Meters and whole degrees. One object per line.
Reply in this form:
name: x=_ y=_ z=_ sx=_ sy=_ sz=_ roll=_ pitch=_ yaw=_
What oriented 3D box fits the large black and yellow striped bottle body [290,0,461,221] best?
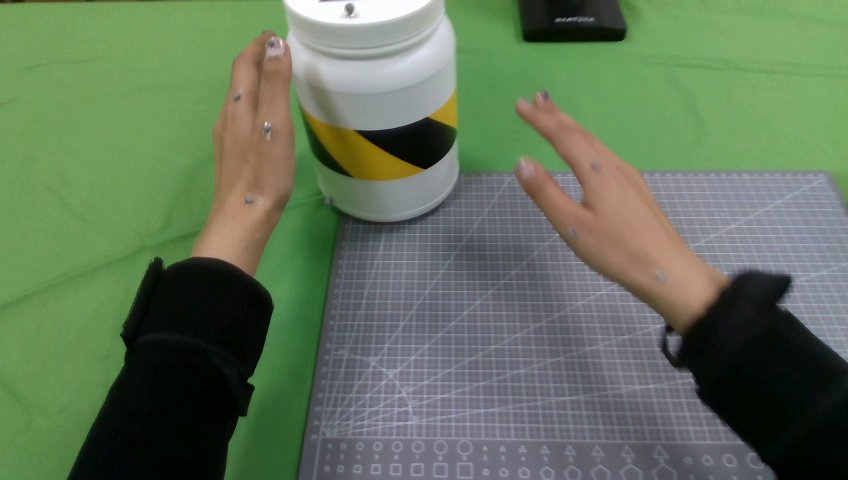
large black and yellow striped bottle body: x=-0.035 y=-0.121 z=0.498 sx=0.131 sy=0.186 sz=0.129 roll=-2 pitch=49 yaw=2

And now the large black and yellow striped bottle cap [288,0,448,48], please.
large black and yellow striped bottle cap: x=-0.040 y=-0.175 z=0.433 sx=0.115 sy=0.019 sz=0.114 roll=-2 pitch=47 yaw=2
